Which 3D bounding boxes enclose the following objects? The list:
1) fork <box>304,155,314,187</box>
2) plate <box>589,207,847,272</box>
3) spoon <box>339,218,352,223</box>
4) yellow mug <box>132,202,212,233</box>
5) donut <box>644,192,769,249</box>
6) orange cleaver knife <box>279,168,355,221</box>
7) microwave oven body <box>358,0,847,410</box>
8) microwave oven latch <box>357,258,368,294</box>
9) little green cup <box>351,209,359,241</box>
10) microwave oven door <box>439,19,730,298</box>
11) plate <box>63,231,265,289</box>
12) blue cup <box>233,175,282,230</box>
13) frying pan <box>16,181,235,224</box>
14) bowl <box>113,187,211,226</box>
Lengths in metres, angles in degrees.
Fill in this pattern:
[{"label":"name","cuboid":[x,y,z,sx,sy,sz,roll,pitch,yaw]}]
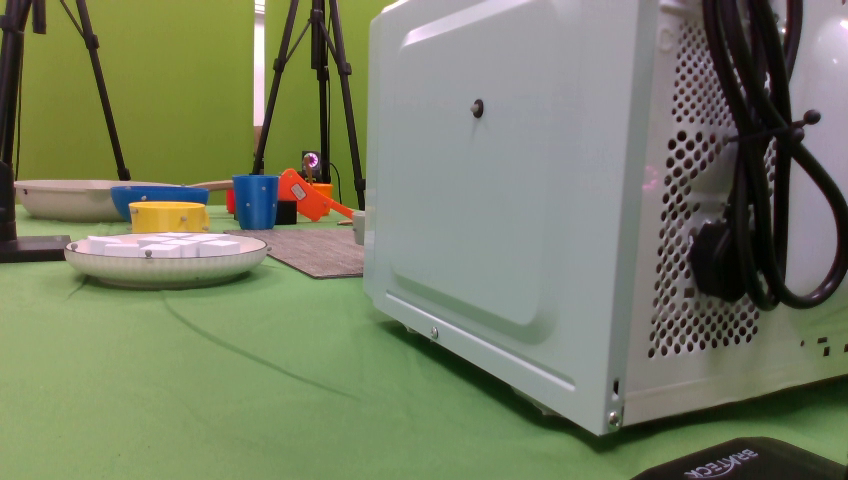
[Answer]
[{"label":"fork","cuboid":[-0.268,-0.134,1.446,0.028,0.018,0.207,2,-36,-1]},{"label":"plate","cuboid":[0.246,-0.002,0.510,0.209,0.038,0.209,3,6,0]},{"label":"spoon","cuboid":[-0.087,-0.041,1.268,0.193,0.021,0.041,4,20,13]},{"label":"yellow mug","cuboid":[-0.356,-0.020,0.878,0.099,0.064,0.131,5,7,21]},{"label":"donut","cuboid":[0.239,-0.016,0.518,0.099,0.048,0.099,2,4,0]},{"label":"orange cleaver knife","cuboid":[-0.236,-0.084,1.333,0.212,0.077,0.012,31,-9,-31]},{"label":"microwave oven body","cuboid":[0.210,-0.051,0.471,0.444,0.260,0.324,-1,7,-28]},{"label":"microwave oven latch","cuboid":[-0.019,0.031,0.530,0.079,0.029,0.030,-1,7,-27]},{"label":"little green cup","cuboid":[-0.062,-0.018,0.766,0.061,0.038,0.061,1,8,0]},{"label":"microwave oven door","cuboid":[0.181,-0.076,0.618,0.358,0.243,0.039,-2,8,-28]},{"label":"plate","cuboid":[-0.288,0.021,0.687,0.208,0.039,0.207,2,8,0]},{"label":"blue cup","cuboid":[-0.314,-0.071,1.141,0.093,0.100,0.092,0,7,0]},{"label":"frying pan","cuboid":[-0.553,-0.097,1.266,0.490,0.102,0.305,-10,13,-24]},{"label":"bowl","cuboid":[-0.436,-0.046,1.013,0.151,0.077,0.151,2,7,0]}]
